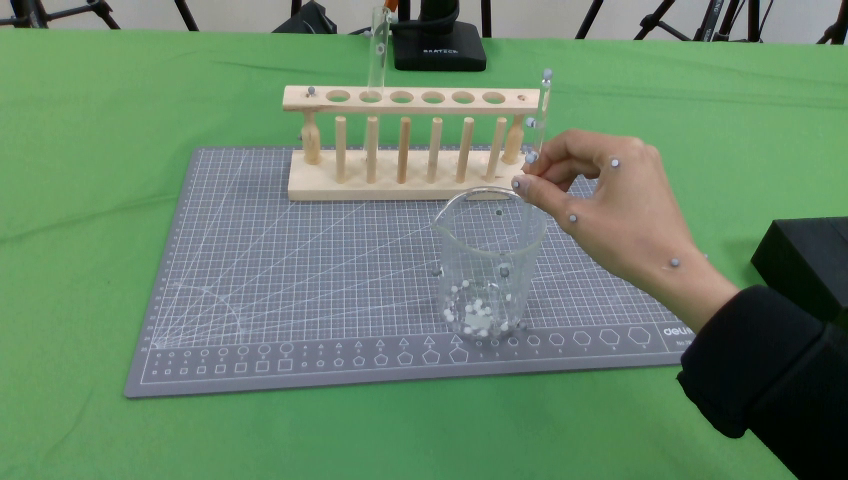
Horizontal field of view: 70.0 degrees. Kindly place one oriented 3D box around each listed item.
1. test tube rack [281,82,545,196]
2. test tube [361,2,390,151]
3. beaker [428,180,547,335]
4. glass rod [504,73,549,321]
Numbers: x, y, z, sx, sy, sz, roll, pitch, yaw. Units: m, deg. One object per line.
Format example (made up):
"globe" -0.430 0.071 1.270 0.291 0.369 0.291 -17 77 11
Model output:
"test tube rack" -0.010 -0.096 0.581 0.243 0.086 0.066 -1 44 -6
"test tube" -0.046 -0.142 0.553 0.017 0.151 0.017 6 45 -5
"beaker" 0.044 0.017 0.458 0.084 0.101 0.073 0 43 -3
"glass rod" 0.068 -0.018 0.420 0.008 0.201 0.008 2 36 -1
